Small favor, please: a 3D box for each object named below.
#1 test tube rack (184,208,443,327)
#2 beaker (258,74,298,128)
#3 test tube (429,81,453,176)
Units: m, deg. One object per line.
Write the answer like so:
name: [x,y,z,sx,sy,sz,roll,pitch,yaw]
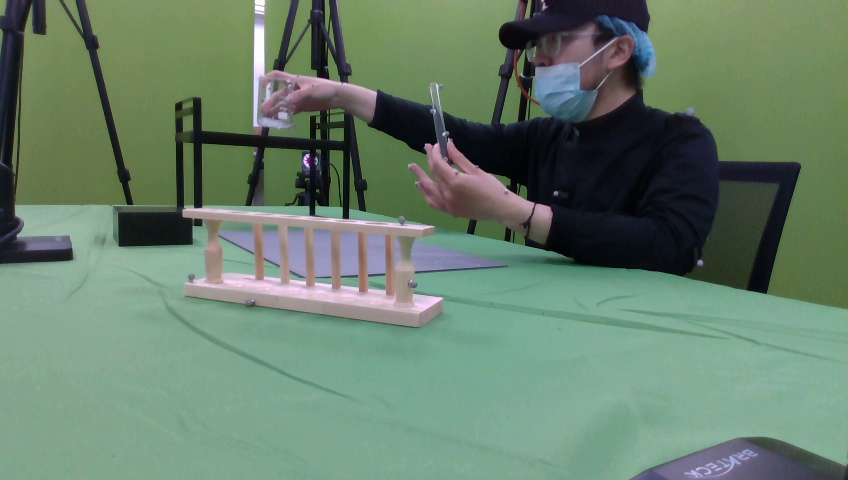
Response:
test tube rack: [-0.106,0.019,0.570,0.241,0.085,0.067,5,8,19]
beaker: [-0.299,-0.280,1.222,0.073,0.100,0.084,15,14,33]
test tube: [0.026,-0.171,0.932,0.017,0.150,0.017,-9,-6,-1]
